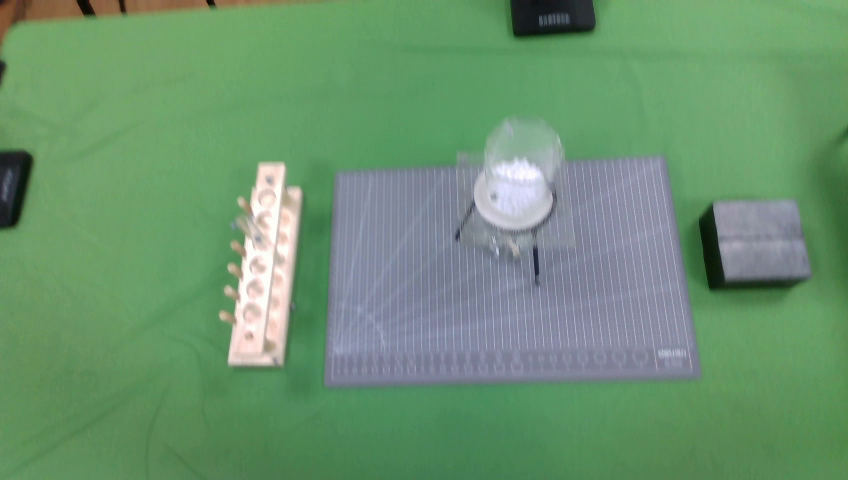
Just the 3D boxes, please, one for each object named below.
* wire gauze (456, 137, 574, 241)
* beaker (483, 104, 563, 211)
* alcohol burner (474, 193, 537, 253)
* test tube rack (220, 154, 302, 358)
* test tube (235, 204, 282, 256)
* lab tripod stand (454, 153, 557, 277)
[{"bbox_3d":[0.098,-0.056,0.663,0.125,0.011,0.120,0,71,1],"label":"wire gauze"},{"bbox_3d":[0.095,-0.077,0.620,0.084,0.101,0.073,-34,72,-8],"label":"beaker"},{"bbox_3d":[0.100,-0.028,0.734,0.078,0.120,0.077,-1,70,2],"label":"alcohol burner"},{"bbox_3d":[-0.208,0.020,0.757,0.067,0.086,0.240,0,71,5],"label":"test tube rack"},{"bbox_3d":[-0.191,-0.008,0.713,0.017,0.151,0.017,0,72,2],"label":"test tube"},{"bbox_3d":[0.107,-0.038,0.727,0.148,0.132,0.147,-2,69,5],"label":"lab tripod stand"}]
